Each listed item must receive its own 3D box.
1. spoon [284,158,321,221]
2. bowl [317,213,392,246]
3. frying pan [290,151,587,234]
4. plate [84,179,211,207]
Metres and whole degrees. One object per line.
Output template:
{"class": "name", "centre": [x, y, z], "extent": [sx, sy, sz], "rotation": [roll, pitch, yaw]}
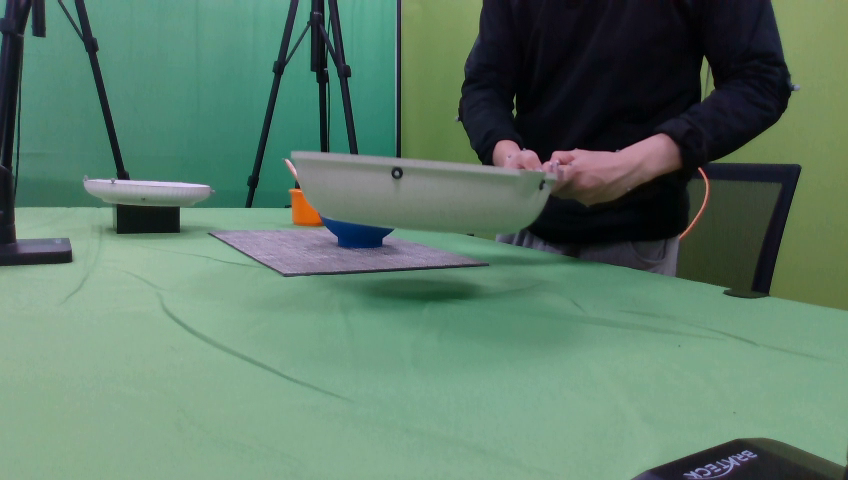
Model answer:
{"class": "spoon", "centre": [-0.269, -0.114, 1.335], "extent": [0.042, 0.193, 0.021], "rotation": [-4, -34, -42]}
{"class": "bowl", "centre": [-0.105, -0.033, 0.992], "extent": [0.151, 0.077, 0.151], "rotation": [3, 8, 0]}
{"class": "frying pan", "centre": [0.072, -0.073, 0.746], "extent": [0.305, 0.102, 0.490], "rotation": [11, 18, 44]}
{"class": "plate", "centre": [-0.495, -0.085, 1.093], "extent": [0.208, 0.039, 0.207], "rotation": [4, 7, 0]}
